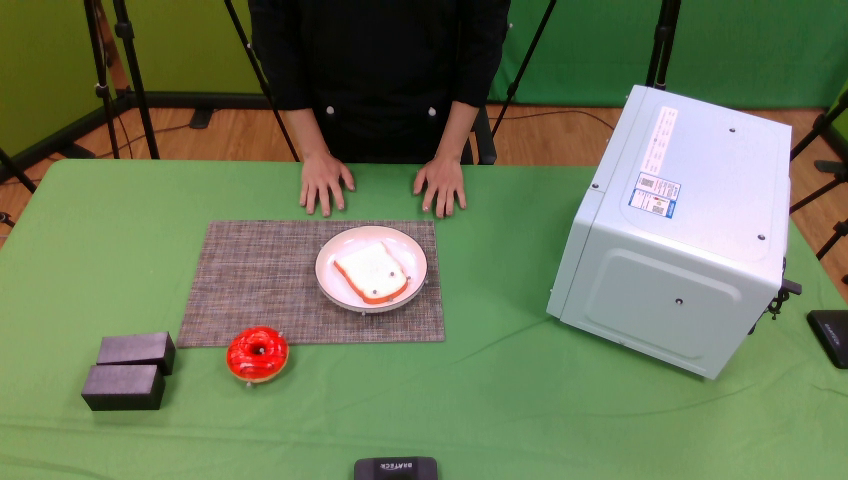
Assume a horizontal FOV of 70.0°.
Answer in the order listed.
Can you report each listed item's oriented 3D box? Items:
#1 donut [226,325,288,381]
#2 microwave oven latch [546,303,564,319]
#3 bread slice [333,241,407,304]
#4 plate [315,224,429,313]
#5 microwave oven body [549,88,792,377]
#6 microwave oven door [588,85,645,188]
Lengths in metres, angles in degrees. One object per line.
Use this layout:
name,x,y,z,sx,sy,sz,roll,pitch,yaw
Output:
donut,-0.270,0.182,0.984,0.099,0.048,0.098,5,49,-5
microwave oven latch,0.242,0.102,1.081,0.030,0.029,0.079,21,48,17
bread slice,-0.092,0.060,1.117,0.105,0.019,0.130,-24,52,-24
plate,-0.096,0.055,1.121,0.208,0.039,0.206,2,46,-2
microwave oven body,0.456,-0.028,1.088,0.325,0.261,0.440,20,47,16
microwave oven door,0.342,-0.107,1.149,0.039,0.245,0.354,20,48,15
